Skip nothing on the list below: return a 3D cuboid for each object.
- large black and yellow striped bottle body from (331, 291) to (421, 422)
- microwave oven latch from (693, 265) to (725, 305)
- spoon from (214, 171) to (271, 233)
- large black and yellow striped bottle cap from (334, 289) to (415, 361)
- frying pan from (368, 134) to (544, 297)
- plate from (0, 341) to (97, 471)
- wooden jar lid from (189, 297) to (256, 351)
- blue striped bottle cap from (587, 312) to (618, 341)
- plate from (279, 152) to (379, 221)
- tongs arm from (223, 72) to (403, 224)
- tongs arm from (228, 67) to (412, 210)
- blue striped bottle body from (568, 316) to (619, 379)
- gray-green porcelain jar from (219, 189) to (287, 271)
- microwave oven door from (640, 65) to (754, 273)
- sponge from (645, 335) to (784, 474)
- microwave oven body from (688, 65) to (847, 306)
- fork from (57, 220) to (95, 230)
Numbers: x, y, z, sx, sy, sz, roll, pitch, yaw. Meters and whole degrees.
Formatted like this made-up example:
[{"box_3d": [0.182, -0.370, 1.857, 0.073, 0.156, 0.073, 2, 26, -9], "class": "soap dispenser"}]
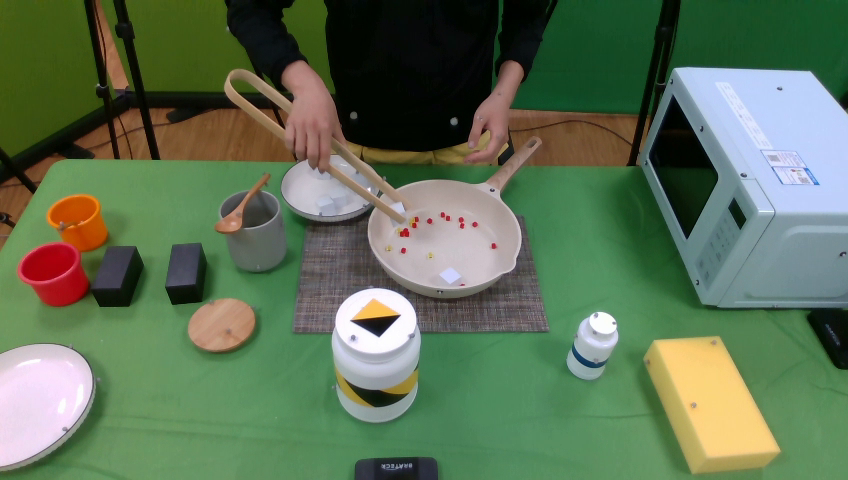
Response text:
[{"box_3d": [-0.071, 0.175, 0.911, 0.131, 0.185, 0.130, 2, 47, -2], "class": "large black and yellow striped bottle body"}, {"box_3d": [0.523, 0.081, 1.116, 0.030, 0.029, 0.078, 2, 46, -1], "class": "microwave oven latch"}, {"box_3d": [-0.312, -0.070, 1.070, 0.041, 0.022, 0.193, 10, 43, 10], "class": "spoon"}, {"box_3d": [-0.069, 0.117, 0.850, 0.115, 0.019, 0.114, 2, 45, -2], "class": "large black and yellow striped bottle cap"}, {"box_3d": [0.104, -0.069, 1.205, 0.305, 0.103, 0.487, 33, 61, 23], "class": "frying pan"}, {"box_3d": [-0.599, 0.247, 0.904, 0.209, 0.038, 0.208, 2, 47, -2], "class": "plate"}, {"box_3d": [-0.342, 0.145, 1.033, 0.108, 0.021, 0.107, 2, 45, -2], "class": "wooden jar lid"}, {"box_3d": [0.279, 0.134, 0.946, 0.044, 0.021, 0.044, 2, 45, -2], "class": "blue striped bottle cap"}, {"box_3d": [-0.196, -0.107, 1.269, 0.208, 0.039, 0.206, 2, 45, -2], "class": "plate"}, {"box_3d": [-0.191, -0.151, 1.057, 0.388, 0.028, 0.028, 38, 57, -12], "class": "tongs arm"}, {"box_3d": [-0.180, -0.170, 1.072, 0.385, 0.026, 0.050, 41, 53, -10], "class": "tongs arm"}, {"box_3d": [0.276, 0.168, 0.984, 0.063, 0.121, 0.062, 2, 46, -2], "class": "blue striped bottle body"}, {"box_3d": [-0.310, -0.014, 1.113, 0.106, 0.127, 0.105, 2, 46, -2], "class": "gray-green porcelain jar"}, {"box_3d": [0.523, -0.147, 1.193, 0.039, 0.245, 0.353, 0, 47, -3], "class": "microwave oven door"}, {"box_3d": [0.449, 0.253, 0.956, 0.118, 0.061, 0.205, -4, 46, -7], "class": "sponge"}, {"box_3d": [0.669, -0.111, 1.176, 0.326, 0.261, 0.439, 0, 46, -3], "class": "microwave oven body"}, {"box_3d": [-0.624, -0.027, 1.086, 0.028, 0.207, 0.018, -2, 92, -17], "class": "fork"}]
